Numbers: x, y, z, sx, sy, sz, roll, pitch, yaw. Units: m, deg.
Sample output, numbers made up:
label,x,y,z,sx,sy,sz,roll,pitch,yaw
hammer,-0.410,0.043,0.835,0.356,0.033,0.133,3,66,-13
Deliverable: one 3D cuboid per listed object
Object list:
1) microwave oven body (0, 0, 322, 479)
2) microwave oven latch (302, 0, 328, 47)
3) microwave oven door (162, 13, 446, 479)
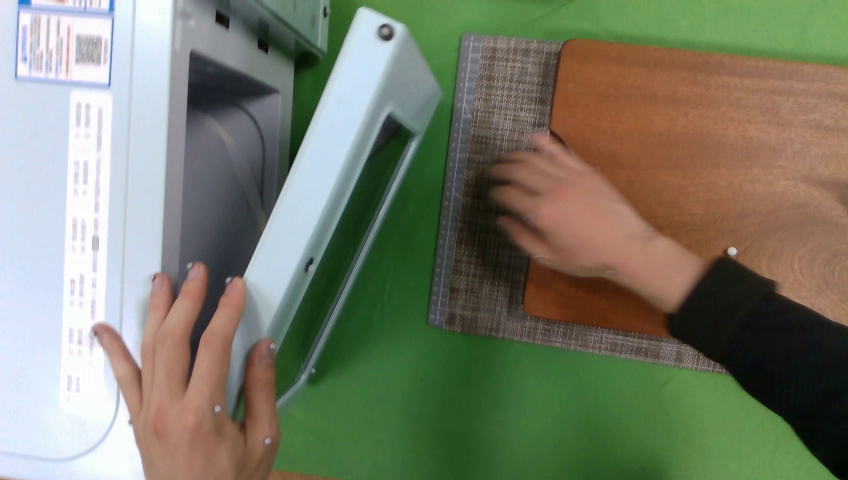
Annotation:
label,x,y,z,sx,sy,sz,roll,pitch,yaw
microwave oven body,-0.282,-0.062,0.521,0.326,0.260,0.442,6,97,5
microwave oven latch,-0.108,-0.229,0.583,0.030,0.029,0.079,7,97,5
microwave oven door,-0.084,0.013,0.502,0.039,0.244,0.356,26,98,5
